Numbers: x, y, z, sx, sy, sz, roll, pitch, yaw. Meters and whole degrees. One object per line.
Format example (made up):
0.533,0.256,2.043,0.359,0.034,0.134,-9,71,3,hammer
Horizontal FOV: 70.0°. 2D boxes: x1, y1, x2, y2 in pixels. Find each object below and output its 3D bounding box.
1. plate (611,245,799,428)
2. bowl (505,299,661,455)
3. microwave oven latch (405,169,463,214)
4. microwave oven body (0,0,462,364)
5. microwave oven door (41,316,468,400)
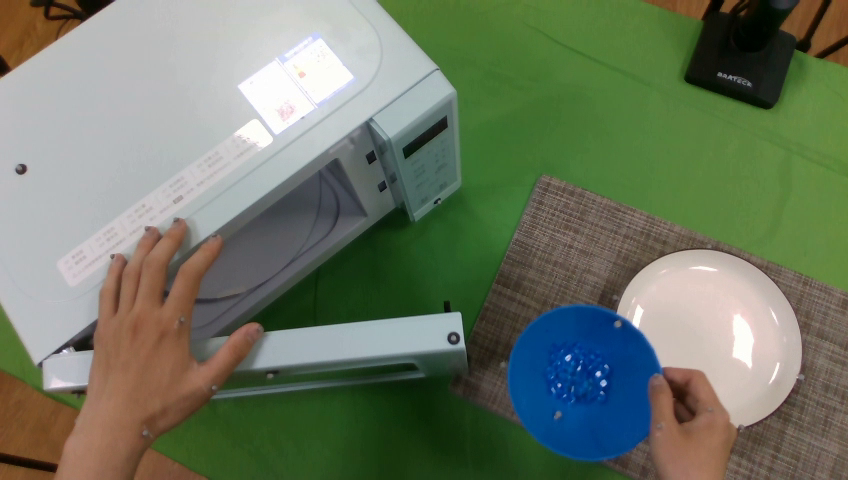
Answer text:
0.316,0.110,0.699,0.207,0.039,0.206,-1,74,4,plate
0.157,0.140,0.626,0.151,0.077,0.150,-1,76,4,bowl
0.012,-0.068,0.756,0.079,0.029,0.030,-36,75,-5,microwave oven latch
-0.226,-0.096,0.680,0.441,0.261,0.324,-38,76,-6,microwave oven body
-0.135,0.122,0.608,0.356,0.245,0.039,-7,73,2,microwave oven door
